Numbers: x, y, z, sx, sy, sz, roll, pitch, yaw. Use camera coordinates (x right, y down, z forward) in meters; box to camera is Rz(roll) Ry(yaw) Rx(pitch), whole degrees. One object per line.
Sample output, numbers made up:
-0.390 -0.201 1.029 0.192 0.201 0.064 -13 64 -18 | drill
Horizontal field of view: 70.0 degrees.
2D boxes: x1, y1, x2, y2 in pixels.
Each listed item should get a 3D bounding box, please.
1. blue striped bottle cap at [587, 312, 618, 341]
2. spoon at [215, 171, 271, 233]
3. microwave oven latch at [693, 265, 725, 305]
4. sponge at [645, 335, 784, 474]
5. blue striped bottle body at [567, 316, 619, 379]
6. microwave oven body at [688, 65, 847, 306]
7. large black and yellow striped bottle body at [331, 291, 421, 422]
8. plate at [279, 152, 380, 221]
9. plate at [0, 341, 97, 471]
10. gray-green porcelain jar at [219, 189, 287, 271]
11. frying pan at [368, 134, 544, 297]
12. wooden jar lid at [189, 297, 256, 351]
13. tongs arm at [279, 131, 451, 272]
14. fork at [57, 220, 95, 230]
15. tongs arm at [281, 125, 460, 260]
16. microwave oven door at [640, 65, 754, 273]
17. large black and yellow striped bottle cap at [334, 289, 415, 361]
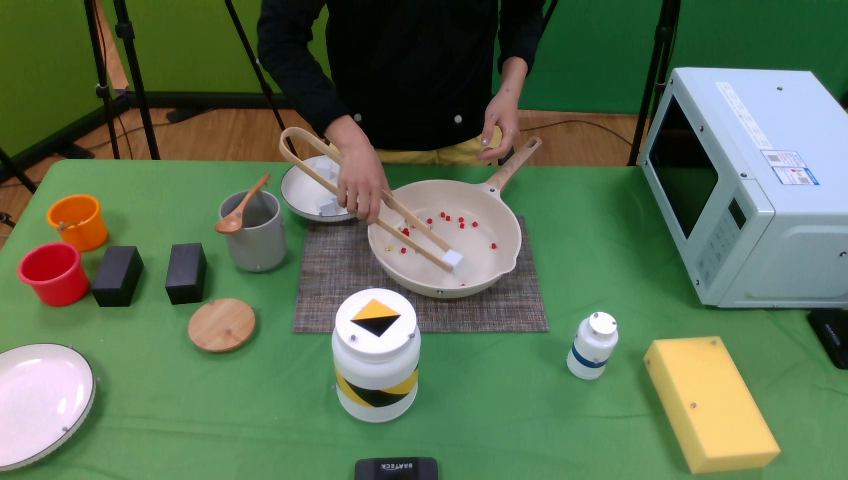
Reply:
0.279 0.134 0.946 0.044 0.021 0.044 2 45 -2 | blue striped bottle cap
-0.312 -0.070 1.070 0.041 0.022 0.193 6 43 12 | spoon
0.523 0.081 1.116 0.030 0.029 0.078 2 46 -1 | microwave oven latch
0.449 0.253 0.956 0.118 0.061 0.205 -4 46 -7 | sponge
0.276 0.168 0.984 0.063 0.121 0.062 2 46 -2 | blue striped bottle body
0.669 -0.111 1.176 0.326 0.261 0.439 0 46 -3 | microwave oven body
-0.071 0.175 0.911 0.131 0.185 0.130 2 47 -2 | large black and yellow striped bottle body
-0.196 -0.107 1.269 0.208 0.039 0.206 2 45 -2 | plate
-0.599 0.247 0.904 0.209 0.038 0.208 2 47 -2 | plate
-0.310 -0.014 1.114 0.106 0.127 0.105 2 46 -2 | gray-green porcelain jar
0.104 -0.069 1.205 0.305 0.103 0.487 33 61 23 | frying pan
-0.342 0.145 1.033 0.108 0.021 0.107 2 45 -2 | wooden jar lid
-0.109 -0.063 1.081 0.388 0.028 0.028 37 65 -2 | tongs arm
-0.624 -0.027 1.086 0.028 0.018 0.207 -3 2 -17 | fork
-0.097 -0.080 1.092 0.385 0.026 0.050 41 61 0 | tongs arm
0.523 -0.147 1.193 0.039 0.245 0.353 0 47 -3 | microwave oven door
-0.069 0.117 0.850 0.115 0.019 0.114 2 45 -2 | large black and yellow striped bottle cap
